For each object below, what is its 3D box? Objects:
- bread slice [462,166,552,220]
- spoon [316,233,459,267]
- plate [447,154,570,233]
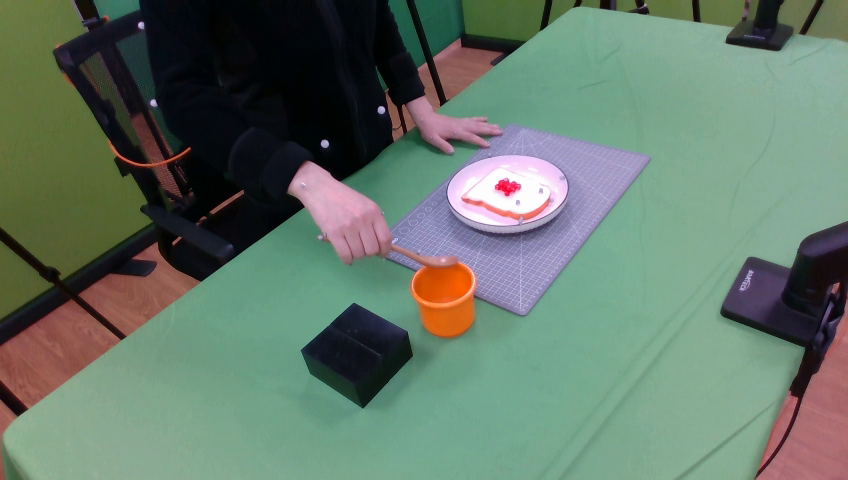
[{"bbox_3d":[0.150,-0.079,1.036,0.133,0.018,0.107,22,50,31],"label":"bread slice"},{"bbox_3d":[-0.045,0.011,0.788,0.195,0.021,0.041,14,7,-19],"label":"spoon"},{"bbox_3d":[0.143,-0.076,1.032,0.209,0.038,0.208,-5,40,5],"label":"plate"}]
